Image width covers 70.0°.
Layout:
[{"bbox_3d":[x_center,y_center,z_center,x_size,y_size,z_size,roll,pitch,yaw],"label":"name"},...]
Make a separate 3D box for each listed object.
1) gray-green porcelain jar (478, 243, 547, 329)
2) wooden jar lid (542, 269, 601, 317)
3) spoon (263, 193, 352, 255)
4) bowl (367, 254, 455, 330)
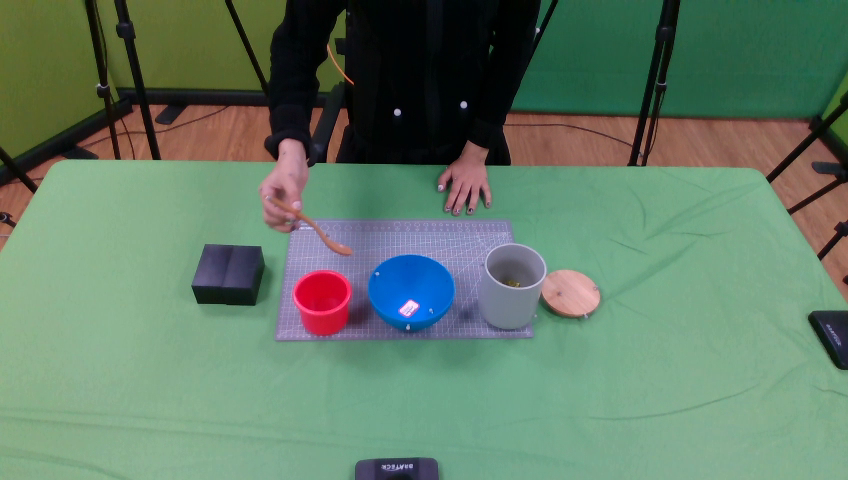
[{"bbox_3d":[0.150,0.085,1.049,0.106,0.127,0.105,2,46,-2],"label":"gray-green porcelain jar"},{"bbox_3d":[0.272,0.100,1.121,0.108,0.021,0.107,3,47,-2],"label":"wooden jar lid"},{"bbox_3d":[-0.180,-0.025,0.958,0.021,0.195,0.041,-46,43,0],"label":"spoon"},{"bbox_3d":[-0.023,0.104,1.053,0.151,0.077,0.150,2,46,-2],"label":"bowl"}]
